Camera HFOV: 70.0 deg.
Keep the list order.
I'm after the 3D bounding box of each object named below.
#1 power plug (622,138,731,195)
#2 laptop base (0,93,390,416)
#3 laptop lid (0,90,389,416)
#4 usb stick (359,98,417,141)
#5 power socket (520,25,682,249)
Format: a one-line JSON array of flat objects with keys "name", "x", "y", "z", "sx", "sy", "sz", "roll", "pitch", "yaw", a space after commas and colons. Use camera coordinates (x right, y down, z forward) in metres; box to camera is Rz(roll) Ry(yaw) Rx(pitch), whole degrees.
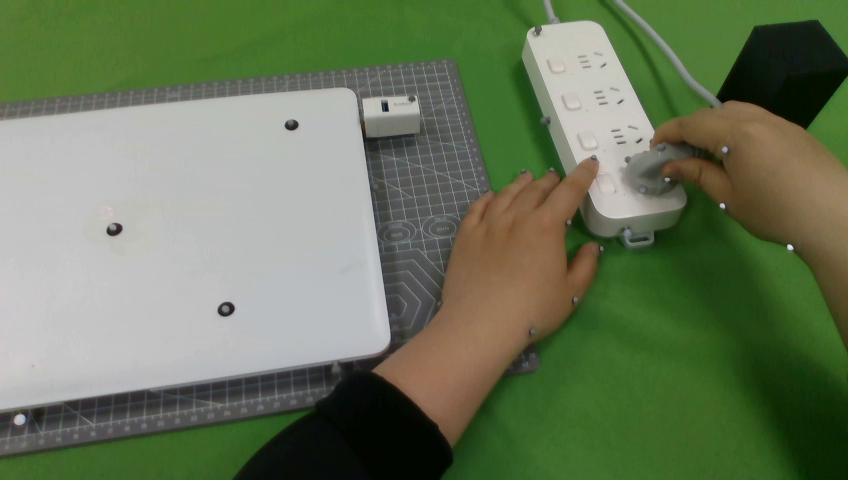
[{"name": "power plug", "x": 0.182, "y": -0.048, "z": 0.441, "sx": 0.072, "sy": 0.053, "sz": 0.035, "roll": 4, "pitch": 57, "yaw": 0}, {"name": "laptop base", "x": -0.213, "y": 0.002, "z": 0.432, "sx": 0.355, "sy": 0.023, "sz": 0.233, "roll": -8, "pitch": 62, "yaw": -6}, {"name": "laptop lid", "x": -0.212, "y": -0.003, "z": 0.421, "sx": 0.357, "sy": 0.013, "sz": 0.239, "roll": -6, "pitch": 60, "yaw": -5}, {"name": "usb stick", "x": -0.035, "y": -0.096, "z": 0.484, "sx": 0.059, "sy": 0.027, "sz": 0.021, "roll": -8, "pitch": 57, "yaw": -3}, {"name": "power socket", "x": 0.137, "y": -0.096, "z": 0.494, "sx": 0.072, "sy": 0.033, "sz": 0.224, "roll": -7, "pitch": 58, "yaw": -8}]
